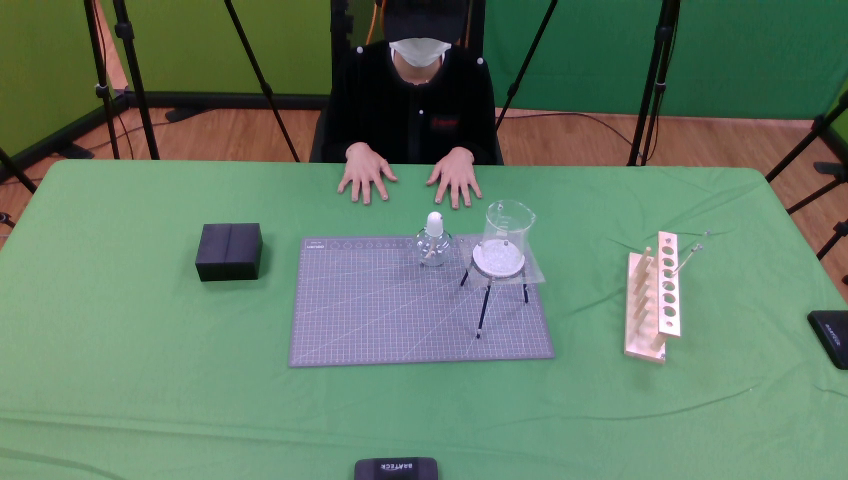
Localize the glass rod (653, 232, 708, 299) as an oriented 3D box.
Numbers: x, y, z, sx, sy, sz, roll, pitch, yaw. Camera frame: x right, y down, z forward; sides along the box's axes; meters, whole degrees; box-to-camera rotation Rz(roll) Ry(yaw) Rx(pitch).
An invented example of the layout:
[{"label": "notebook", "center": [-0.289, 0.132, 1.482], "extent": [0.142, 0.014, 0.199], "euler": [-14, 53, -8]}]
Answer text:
[{"label": "glass rod", "center": [0.441, 0.049, 1.050], "extent": [0.008, 0.200, 0.008], "euler": [4, 52, -5]}]

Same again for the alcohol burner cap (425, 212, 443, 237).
[{"label": "alcohol burner cap", "center": [0.019, -0.032, 1.114], "extent": [0.034, 0.048, 0.033], "euler": [0, 48, 0]}]

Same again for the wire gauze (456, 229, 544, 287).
[{"label": "wire gauze", "center": [0.125, 0.030, 1.008], "extent": [0.125, 0.011, 0.120], "euler": [-3, 48, -11]}]

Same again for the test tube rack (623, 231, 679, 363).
[{"label": "test tube rack", "center": [0.410, 0.094, 1.096], "extent": [0.066, 0.085, 0.241], "euler": [13, 46, 9]}]

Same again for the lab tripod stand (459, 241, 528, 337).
[{"label": "lab tripod stand", "center": [0.122, 0.075, 1.054], "extent": [0.148, 0.132, 0.147], "euler": [3, 44, -2]}]

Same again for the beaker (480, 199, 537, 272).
[{"label": "beaker", "center": [0.132, -0.004, 0.973], "extent": [0.084, 0.101, 0.073], "euler": [-4, 47, -9]}]

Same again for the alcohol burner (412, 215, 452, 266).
[{"label": "alcohol burner", "center": [0.016, -0.006, 1.139], "extent": [0.078, 0.119, 0.077], "euler": [2, 48, -2]}]
